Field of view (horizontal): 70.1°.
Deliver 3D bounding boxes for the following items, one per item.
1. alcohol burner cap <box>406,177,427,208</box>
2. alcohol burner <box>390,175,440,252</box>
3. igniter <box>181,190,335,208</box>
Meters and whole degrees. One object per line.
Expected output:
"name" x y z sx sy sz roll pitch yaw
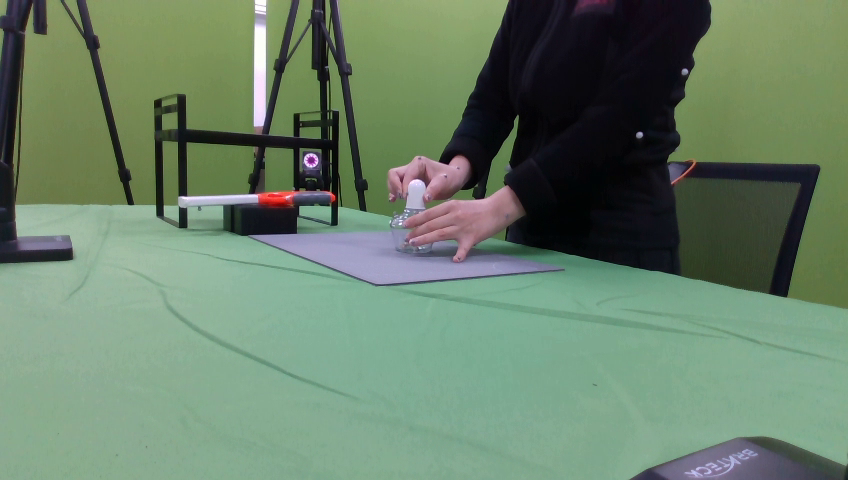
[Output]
"alcohol burner cap" -0.012 -0.072 0.925 0.034 0.048 0.034 0 1 0
"alcohol burner" -0.013 -0.041 0.930 0.078 0.119 0.078 5 8 0
"igniter" -0.294 -0.075 1.103 0.278 0.025 0.057 -5 12 -33
